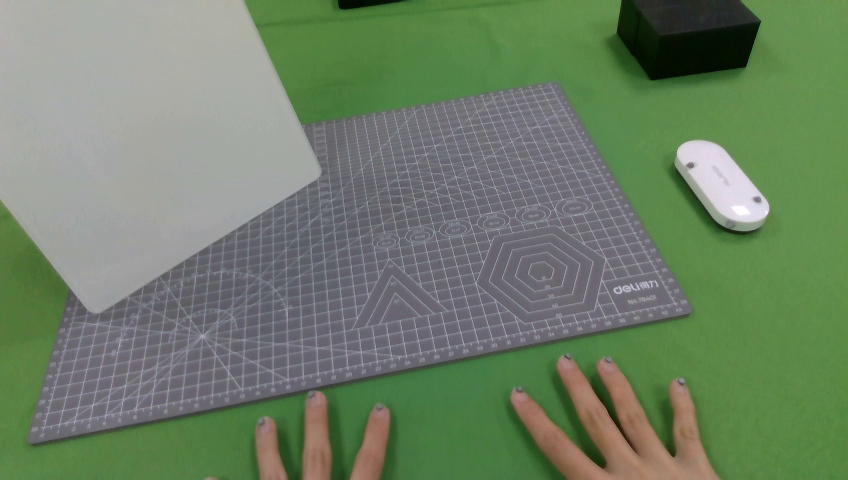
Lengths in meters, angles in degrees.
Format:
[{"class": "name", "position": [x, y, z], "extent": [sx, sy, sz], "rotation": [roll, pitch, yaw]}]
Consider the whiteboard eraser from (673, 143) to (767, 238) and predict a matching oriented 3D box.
[{"class": "whiteboard eraser", "position": [0.238, -0.044, 0.491], "extent": [0.041, 0.019, 0.100], "rotation": [-10, 48, -4]}]

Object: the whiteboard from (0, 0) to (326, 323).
[{"class": "whiteboard", "position": [-0.253, -0.135, 0.469], "extent": [0.217, 0.308, 0.142], "rotation": [-36, 34, -24]}]
